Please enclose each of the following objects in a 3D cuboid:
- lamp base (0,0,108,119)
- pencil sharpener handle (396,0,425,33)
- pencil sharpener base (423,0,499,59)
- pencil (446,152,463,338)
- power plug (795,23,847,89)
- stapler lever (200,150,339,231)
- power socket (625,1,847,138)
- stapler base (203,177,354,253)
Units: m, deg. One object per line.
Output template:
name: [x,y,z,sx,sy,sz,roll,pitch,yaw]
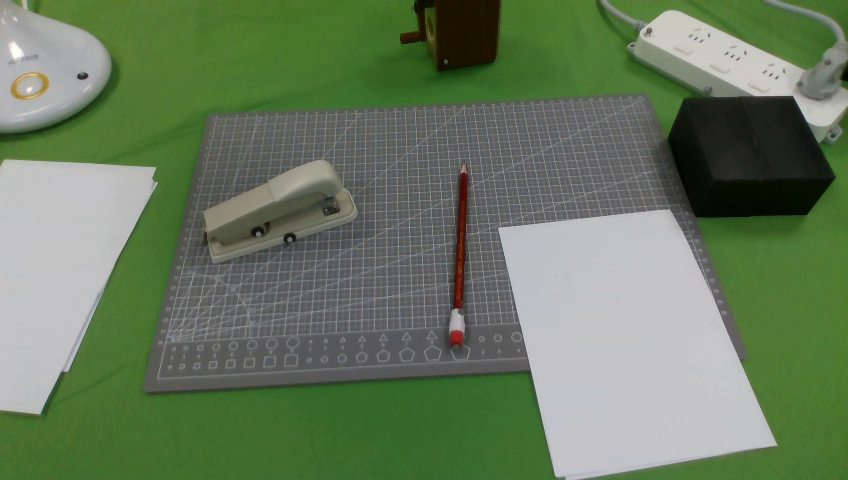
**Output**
lamp base: [-0.427,-0.238,0.582,0.161,0.182,0.177,-29,57,-18]
pencil sharpener handle: [-0.016,-0.243,0.608,0.031,0.068,0.035,-12,34,-7]
pencil sharpener base: [0.033,-0.251,0.629,0.077,0.108,0.060,-12,56,-7]
pencil: [0.028,-0.005,0.514,0.012,0.012,0.192,2,54,3]
power plug: [0.388,-0.167,0.581,0.072,0.053,0.035,-31,60,-18]
stapler lever: [-0.129,-0.042,0.504,0.118,0.040,0.026,-19,55,-11]
power socket: [0.316,-0.179,0.619,0.072,0.033,0.225,-39,62,-24]
stapler base: [-0.127,-0.029,0.525,0.131,0.024,0.041,-19,56,-10]
